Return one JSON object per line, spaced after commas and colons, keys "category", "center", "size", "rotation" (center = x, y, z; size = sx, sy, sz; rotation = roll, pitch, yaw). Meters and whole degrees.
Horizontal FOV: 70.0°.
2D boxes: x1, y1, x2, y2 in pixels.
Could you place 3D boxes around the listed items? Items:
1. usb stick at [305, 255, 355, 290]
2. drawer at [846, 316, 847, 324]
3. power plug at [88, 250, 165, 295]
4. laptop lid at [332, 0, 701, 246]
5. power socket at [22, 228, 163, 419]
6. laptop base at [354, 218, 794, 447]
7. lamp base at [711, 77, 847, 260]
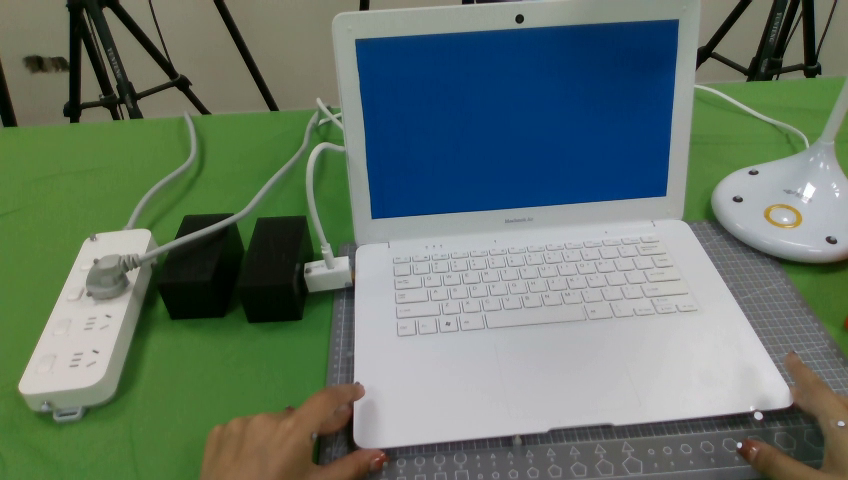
{"category": "usb stick", "center": [-0.086, 0.031, 0.599], "size": [0.059, 0.027, 0.021], "rotation": [-6, 39, -4]}
{"category": "drawer", "center": [0.516, 0.044, 0.528], "size": [0.192, 0.074, 0.212], "rotation": [30, 50, 33]}
{"category": "power plug", "center": [-0.280, 0.038, 0.572], "size": [0.072, 0.053, 0.035], "rotation": [1, 41, 4]}
{"category": "laptop lid", "center": [0.095, -0.114, 0.607], "size": [0.357, 0.243, 0.013], "rotation": [-6, 20, -2]}
{"category": "power socket", "center": [-0.307, 0.065, 0.578], "size": [0.072, 0.033, 0.224], "rotation": [-5, 40, -5]}
{"category": "laptop base", "center": [0.113, 0.072, 0.560], "size": [0.354, 0.023, 0.233], "rotation": [-5, 44, -3]}
{"category": "lamp base", "center": [0.403, -0.099, 0.619], "size": [0.159, 0.182, 0.179], "rotation": [23, 43, 27]}
